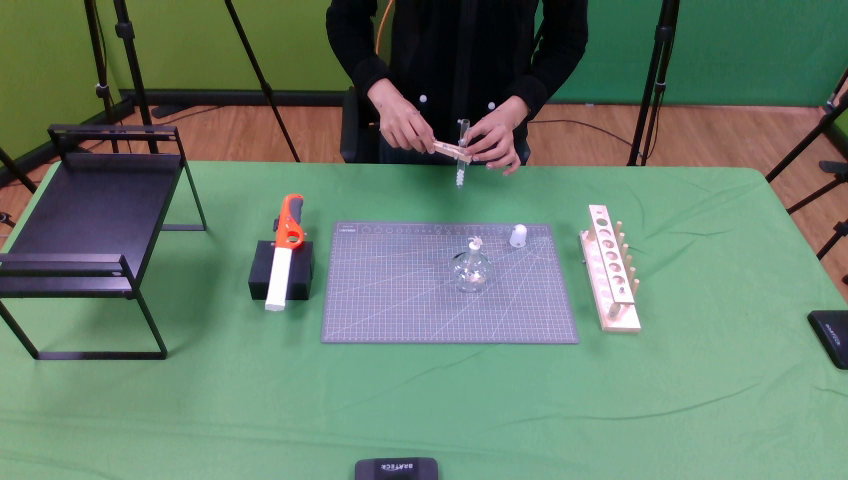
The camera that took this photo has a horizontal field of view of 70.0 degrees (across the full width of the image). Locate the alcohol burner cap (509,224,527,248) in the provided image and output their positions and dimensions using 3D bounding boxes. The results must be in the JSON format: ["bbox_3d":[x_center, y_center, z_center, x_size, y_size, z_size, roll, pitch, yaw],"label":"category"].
[{"bbox_3d":[0.189,-0.011,1.206,0.034,0.048,0.033,1,46,-1],"label":"alcohol burner cap"}]

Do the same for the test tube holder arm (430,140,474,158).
[{"bbox_3d":[0.051,-0.170,1.139,0.087,0.015,0.010,15,40,12],"label":"test tube holder arm"}]

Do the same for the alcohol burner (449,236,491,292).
[{"bbox_3d":[0.086,0.038,1.101,0.078,0.119,0.077,3,44,-2],"label":"alcohol burner"}]

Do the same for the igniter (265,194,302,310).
[{"bbox_3d":[-0.253,0.011,1.099,0.057,0.025,0.274,9,46,-12],"label":"igniter"}]

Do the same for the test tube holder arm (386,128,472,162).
[{"bbox_3d":[0.008,-0.181,1.147,0.178,0.015,0.013,20,41,17],"label":"test tube holder arm"}]

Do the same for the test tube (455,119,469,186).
[{"bbox_3d":[0.070,-0.160,1.131,0.017,0.151,0.017,1,45,-1],"label":"test tube"}]

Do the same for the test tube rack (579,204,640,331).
[{"bbox_3d":[0.353,0.047,1.137,0.067,0.085,0.241,2,46,-2],"label":"test tube rack"}]
